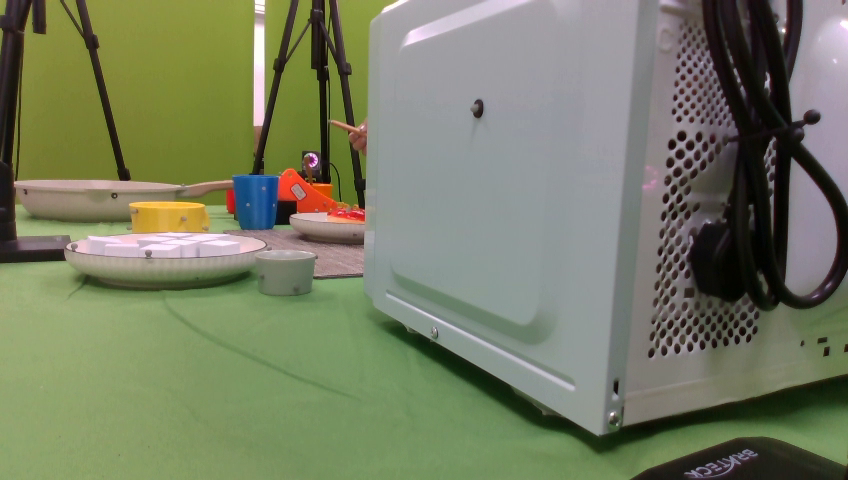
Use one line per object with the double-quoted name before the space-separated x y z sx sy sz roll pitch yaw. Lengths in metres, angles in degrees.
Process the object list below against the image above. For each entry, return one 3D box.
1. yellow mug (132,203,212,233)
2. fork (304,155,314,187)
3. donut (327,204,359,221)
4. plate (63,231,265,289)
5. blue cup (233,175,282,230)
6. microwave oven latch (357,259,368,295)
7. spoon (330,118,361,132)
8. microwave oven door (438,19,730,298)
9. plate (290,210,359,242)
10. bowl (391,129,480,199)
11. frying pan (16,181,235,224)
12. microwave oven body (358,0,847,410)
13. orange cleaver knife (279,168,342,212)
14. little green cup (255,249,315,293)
"yellow mug" -0.356 -0.020 0.878 0.099 0.064 0.131 4 7 22
"fork" -0.268 -0.134 1.446 0.028 0.018 0.207 2 -36 -1
"donut" -0.120 -0.037 1.055 0.099 0.048 0.099 5 6 0
"plate" -0.288 0.021 0.687 0.208 0.039 0.207 2 8 0
"blue cup" -0.314 -0.071 1.141 0.093 0.100 0.092 0 7 0
"microwave oven latch" -0.019 0.031 0.528 0.079 0.029 0.030 -1 7 -25
"spoon" -0.098 -0.195 1.141 0.193 0.021 0.042 30 28 18
"microwave oven door" 0.181 -0.076 0.618 0.358 0.243 0.039 -2 8 -28
"plate" -0.127 -0.025 1.051 0.209 0.038 0.209 2 8 0
"bowl" 0.025 -0.117 1.009 0.151 0.076 0.151 -8 -14 -2
"frying pan" -0.554 -0.097 1.266 0.490 0.102 0.305 -10 13 -24
"microwave oven body" 0.210 -0.051 0.471 0.444 0.260 0.324 -1 7 -28
"orange cleaver knife" -0.236 -0.084 1.332 0.212 0.077 0.012 31 -9 -31
"little green cup" -0.144 0.031 0.627 0.061 0.038 0.061 2 6 0
